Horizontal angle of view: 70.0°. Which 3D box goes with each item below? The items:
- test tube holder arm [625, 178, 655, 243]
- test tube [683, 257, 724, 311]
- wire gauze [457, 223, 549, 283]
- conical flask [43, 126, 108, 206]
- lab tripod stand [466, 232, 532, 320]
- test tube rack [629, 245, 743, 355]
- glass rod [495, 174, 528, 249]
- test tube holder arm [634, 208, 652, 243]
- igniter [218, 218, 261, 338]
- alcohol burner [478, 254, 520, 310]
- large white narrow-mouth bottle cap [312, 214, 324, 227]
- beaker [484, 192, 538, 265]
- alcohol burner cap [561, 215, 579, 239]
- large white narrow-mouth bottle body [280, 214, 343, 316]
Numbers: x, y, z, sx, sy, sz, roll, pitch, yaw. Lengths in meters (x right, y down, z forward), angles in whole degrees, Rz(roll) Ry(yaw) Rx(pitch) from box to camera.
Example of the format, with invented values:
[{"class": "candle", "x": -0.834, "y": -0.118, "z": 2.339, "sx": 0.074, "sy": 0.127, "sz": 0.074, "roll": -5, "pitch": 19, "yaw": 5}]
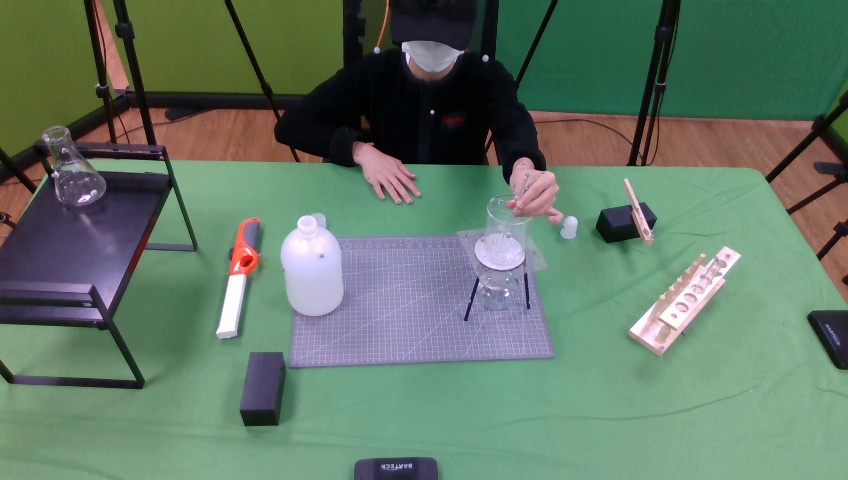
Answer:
[{"class": "test tube holder arm", "x": 0.433, "y": -0.062, "z": 1.220, "sx": 0.013, "sy": 0.015, "sz": 0.177, "roll": 1, "pitch": 47, "yaw": -3}, {"class": "test tube", "x": 0.476, "y": 0.080, "z": 1.037, "sx": 0.017, "sy": 0.151, "sz": 0.017, "roll": 1, "pitch": 50, "yaw": -1}, {"class": "wire gauze", "x": 0.131, "y": 0.016, "z": 1.017, "sx": 0.121, "sy": 0.011, "sz": 0.124, "roll": -10, "pitch": 43, "yaw": -15}, {"class": "conical flask", "x": -0.555, "y": -0.119, "z": 0.953, "sx": 0.075, "sy": 0.122, "sz": 0.075, "roll": 2, "pitch": 46, "yaw": -2}, {"class": "lab tripod stand", "x": 0.125, "y": 0.059, "z": 1.065, "sx": 0.148, "sy": 0.132, "sz": 0.147, "roll": 1, "pitch": 45, "yaw": 0}, {"class": "test tube rack", "x": 0.474, "y": 0.095, "z": 1.091, "sx": 0.242, "sy": 0.085, "sz": 0.066, "roll": -34, "pitch": 56, "yaw": -31}, {"class": "glass rod", "x": 0.133, "y": -0.039, "z": 0.930, "sx": 0.008, "sy": 0.200, "sz": 0.008, "roll": 3, "pitch": 58, "yaw": -5}, {"class": "test tube holder arm", "x": 0.428, "y": -0.030, "z": 1.189, "sx": 0.010, "sy": 0.015, "sz": 0.087, "roll": 1, "pitch": 47, "yaw": -2}, {"class": "igniter", "x": -0.336, "y": 0.060, "z": 1.111, "sx": 0.057, "sy": 0.025, "sz": 0.274, "roll": -8, "pitch": 46, "yaw": 4}, {"class": "alcohol burner", "x": 0.133, "y": 0.068, "z": 1.071, "sx": 0.078, "sy": 0.120, "sz": 0.077, "roll": 0, "pitch": 47, "yaw": 0}, {"class": "large white narrow-mouth bottle cap", "x": -0.219, "y": -0.033, "z": 1.214, "sx": 0.038, "sy": 0.024, "sz": 0.037, "roll": 2, "pitch": 46, "yaw": -2}, {"class": "beaker", "x": 0.137, "y": -0.016, "z": 0.980, "sx": 0.084, "sy": 0.101, "sz": 0.073, "roll": -6, "pitch": 45, "yaw": -9}, {"class": "alcohol burner cap", "x": 0.299, "y": -0.030, "z": 1.231, "sx": 0.034, "sy": 0.048, "sz": 0.033, "roll": 1, "pitch": 47, "yaw": 0}, {"class": "large white narrow-mouth bottle body", "x": -0.190, "y": 0.035, "z": 1.025, "sx": 0.102, "sy": 0.195, "sz": 0.101, "roll": 2, "pitch": 46, "yaw": -2}]
